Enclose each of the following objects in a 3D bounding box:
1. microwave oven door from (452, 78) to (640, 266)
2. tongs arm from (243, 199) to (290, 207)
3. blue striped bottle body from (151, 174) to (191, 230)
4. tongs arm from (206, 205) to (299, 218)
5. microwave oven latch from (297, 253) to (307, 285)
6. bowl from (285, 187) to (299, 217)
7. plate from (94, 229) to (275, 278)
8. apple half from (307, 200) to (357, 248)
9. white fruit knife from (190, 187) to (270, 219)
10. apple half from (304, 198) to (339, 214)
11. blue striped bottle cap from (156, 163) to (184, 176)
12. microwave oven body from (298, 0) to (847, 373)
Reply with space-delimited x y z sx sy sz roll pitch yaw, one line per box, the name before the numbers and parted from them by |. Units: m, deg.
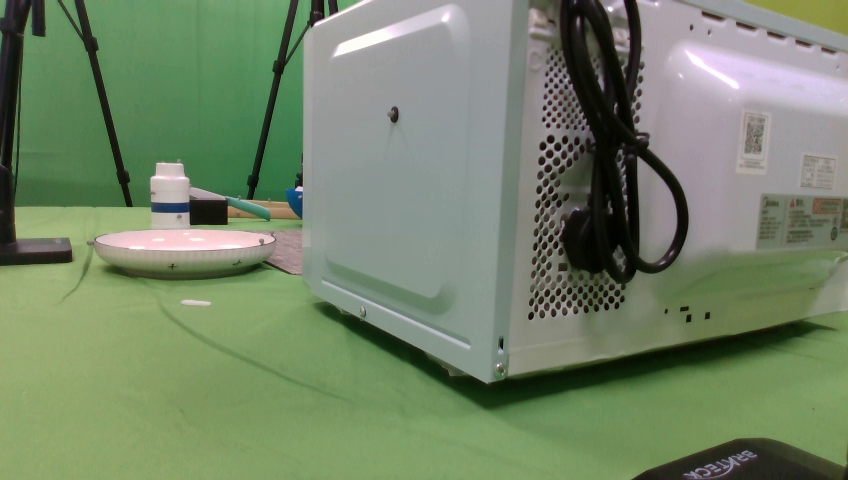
microwave oven door | 0.162 -0.106 0.917 0.039 0.243 0.354 -2 8 -33
tongs arm | -0.309 -0.079 1.487 0.385 0.026 0.050 3 7 -1
blue striped bottle body | -0.439 -0.071 1.052 0.063 0.120 0.063 2 7 0
tongs arm | -0.302 -0.065 1.406 0.389 0.028 0.028 1 4 -15
microwave oven latch | -0.082 0.027 0.582 0.079 0.029 0.030 -1 7 -32
bowl | -0.218 -0.069 1.274 0.151 0.077 0.151 3 8 0
plate | -0.291 0.016 0.749 0.208 0.039 0.207 2 7 0
apple half | -0.136 -0.024 0.942 0.053 0.074 0.081 15 10 38
white fruit knife | -0.413 -0.081 1.270 0.208 0.027 0.016 17 13 -41
apple half | -0.217 -0.073 1.274 0.081 0.033 0.081 2 9 0
blue striped bottle cap | -0.438 -0.122 1.045 0.044 0.020 0.044 5 6 0
microwave oven body | 0.151 -0.055 0.543 0.444 0.260 0.324 -1 7 -33
